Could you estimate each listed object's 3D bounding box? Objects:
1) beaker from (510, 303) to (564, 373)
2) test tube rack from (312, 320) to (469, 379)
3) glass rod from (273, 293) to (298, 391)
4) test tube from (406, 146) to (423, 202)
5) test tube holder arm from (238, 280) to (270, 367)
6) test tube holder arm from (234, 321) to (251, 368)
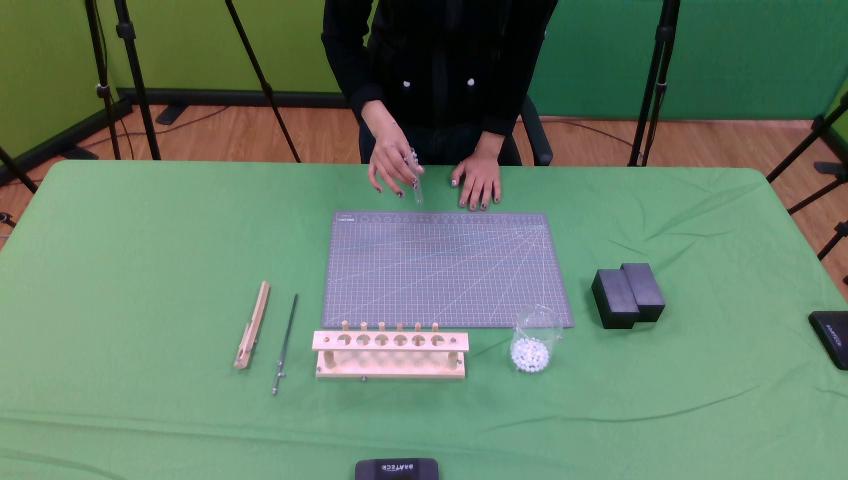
[{"bbox_3d":[0.182,0.164,1.000,0.074,0.101,0.083,2,45,-1],"label":"beaker"},{"bbox_3d":[-0.053,0.173,0.984,0.242,0.085,0.066,1,46,-3],"label":"test tube rack"},{"bbox_3d":[-0.233,0.167,1.030,0.008,0.008,0.198,3,46,0],"label":"glass rod"},{"bbox_3d":[-0.017,-0.122,1.150,0.017,0.151,0.017,-3,55,5],"label":"test tube"},{"bbox_3d":[-0.290,0.139,1.042,0.013,0.015,0.177,-16,42,22],"label":"test tube holder arm"},{"bbox_3d":[-0.299,0.173,1.013,0.010,0.015,0.087,-16,42,22],"label":"test tube holder arm"}]
